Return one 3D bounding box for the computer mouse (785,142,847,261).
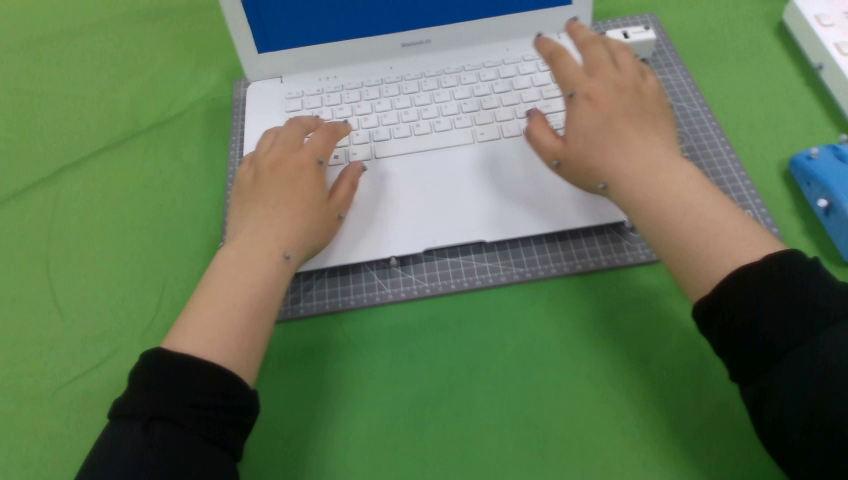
[{"bbox_3d":[0.335,-0.036,0.468,0.063,0.041,0.116,-9,50,3],"label":"computer mouse"}]

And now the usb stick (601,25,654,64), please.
[{"bbox_3d":[0.189,-0.188,0.586,0.059,0.027,0.021,-10,56,4],"label":"usb stick"}]

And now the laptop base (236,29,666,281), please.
[{"bbox_3d":[0.009,-0.086,0.552,0.354,0.023,0.233,-9,58,0],"label":"laptop base"}]

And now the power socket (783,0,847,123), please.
[{"bbox_3d":[0.400,-0.159,0.548,0.072,0.033,0.224,-6,55,3],"label":"power socket"}]

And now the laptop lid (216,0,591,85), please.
[{"bbox_3d":[-0.021,-0.268,0.539,0.357,0.244,0.013,-10,42,1],"label":"laptop lid"}]
